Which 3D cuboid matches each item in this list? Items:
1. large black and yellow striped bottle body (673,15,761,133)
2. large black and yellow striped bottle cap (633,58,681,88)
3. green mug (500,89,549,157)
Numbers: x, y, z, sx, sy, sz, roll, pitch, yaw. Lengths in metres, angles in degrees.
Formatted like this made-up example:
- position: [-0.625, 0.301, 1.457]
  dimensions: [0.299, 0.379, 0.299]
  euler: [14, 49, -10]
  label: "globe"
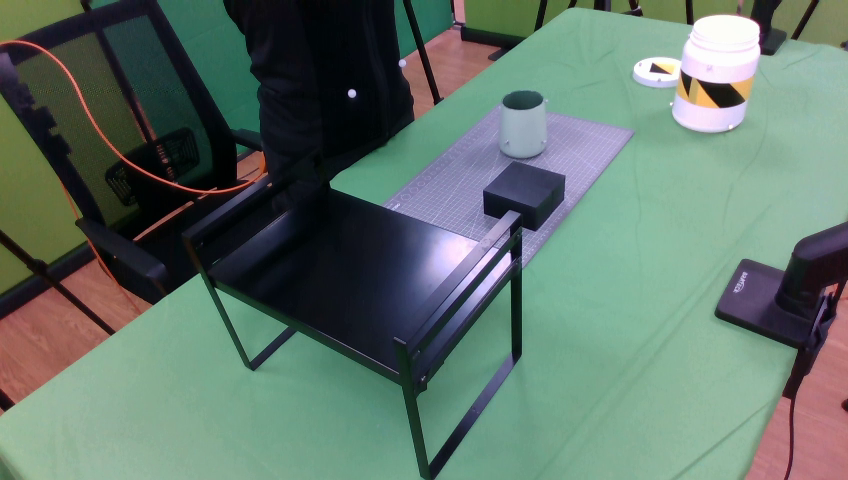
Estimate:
- position: [0.546, -0.309, 1.128]
  dimensions: [0.131, 0.185, 0.130]
  euler: [-4, 41, 4]
  label: "large black and yellow striped bottle body"
- position: [0.521, -0.370, 1.332]
  dimensions: [0.115, 0.019, 0.114]
  euler: [-3, 41, 3]
  label: "large black and yellow striped bottle cap"
- position: [0.195, -0.228, 1.145]
  dimensions: [0.092, 0.105, 0.125]
  euler: [14, 45, 25]
  label: "green mug"
